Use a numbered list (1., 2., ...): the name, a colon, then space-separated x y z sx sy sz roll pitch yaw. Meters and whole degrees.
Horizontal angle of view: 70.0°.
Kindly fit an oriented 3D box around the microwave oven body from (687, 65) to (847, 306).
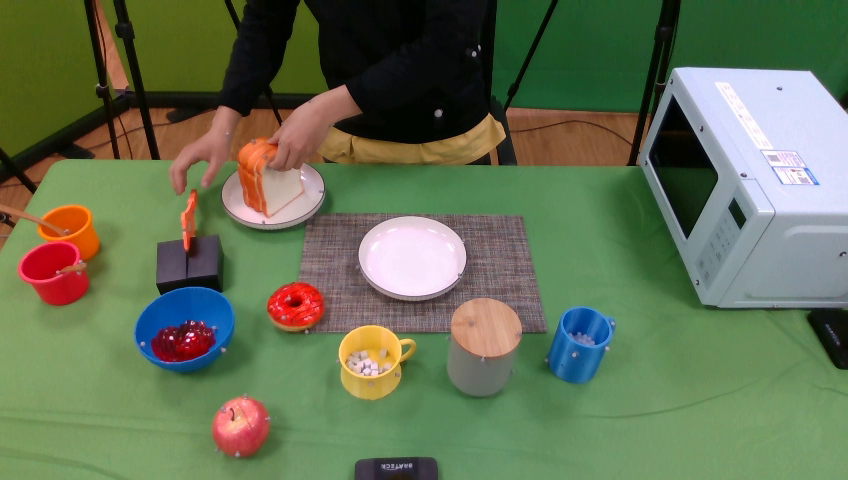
1. microwave oven body: 0.669 -0.111 1.176 0.326 0.261 0.439 0 46 -3

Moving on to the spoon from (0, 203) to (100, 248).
1. spoon: -0.683 -0.031 1.088 0.195 0.021 0.041 33 33 -38

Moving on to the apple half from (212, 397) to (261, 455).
1. apple half: -0.276 0.276 0.877 0.053 0.075 0.080 -29 58 -21

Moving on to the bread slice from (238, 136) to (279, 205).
1. bread slice: -0.328 -0.147 1.225 0.019 0.132 0.105 29 49 27

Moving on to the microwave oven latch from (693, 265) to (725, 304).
1. microwave oven latch: 0.523 0.081 1.115 0.030 0.029 0.078 2 46 -1

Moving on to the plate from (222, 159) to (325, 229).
1. plate: -0.307 -0.095 1.251 0.209 0.038 0.208 2 46 -2

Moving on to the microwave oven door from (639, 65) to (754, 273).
1. microwave oven door: 0.522 -0.147 1.192 0.039 0.245 0.353 0 47 -3

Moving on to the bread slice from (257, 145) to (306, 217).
1. bread slice: -0.288 -0.123 1.206 0.018 0.135 0.107 27 53 25

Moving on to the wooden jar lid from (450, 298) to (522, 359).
1. wooden jar lid: 0.093 0.135 0.914 0.108 0.021 0.107 3 48 -3

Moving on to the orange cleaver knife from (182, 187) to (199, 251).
1. orange cleaver knife: -0.445 -0.045 1.163 0.012 0.077 0.210 -5 24 -13

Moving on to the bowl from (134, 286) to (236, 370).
1. bowl: -0.377 0.155 0.981 0.151 0.077 0.150 2 46 -2

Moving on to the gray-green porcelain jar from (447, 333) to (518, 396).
1. gray-green porcelain jar: 0.091 0.178 0.960 0.106 0.127 0.105 2 46 -2

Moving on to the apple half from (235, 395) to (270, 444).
1. apple half: -0.245 0.259 0.893 0.033 0.082 0.081 -29 55 -22

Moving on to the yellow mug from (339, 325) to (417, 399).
1. yellow mug: -0.072 0.190 0.978 0.131 0.064 0.099 -17 50 -20

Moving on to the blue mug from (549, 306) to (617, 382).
1. blue mug: 0.269 0.166 0.998 0.116 0.106 0.082 -19 51 -21

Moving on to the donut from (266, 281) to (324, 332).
1. donut: -0.222 0.114 1.049 0.099 0.048 0.098 2 45 -2

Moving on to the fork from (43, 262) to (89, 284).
1. fork: -0.599 0.053 1.013 0.207 0.019 0.028 -14 31 45

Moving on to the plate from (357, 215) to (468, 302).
1. plate: -0.022 0.037 1.141 0.208 0.039 0.206 2 46 -2
